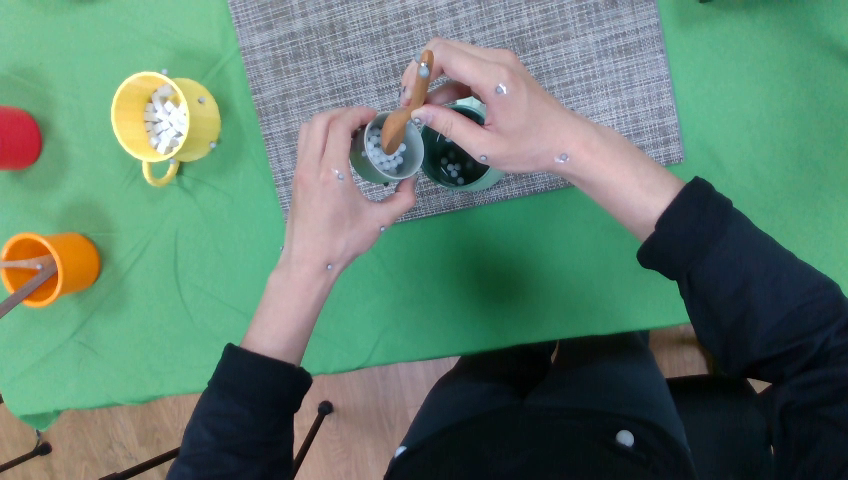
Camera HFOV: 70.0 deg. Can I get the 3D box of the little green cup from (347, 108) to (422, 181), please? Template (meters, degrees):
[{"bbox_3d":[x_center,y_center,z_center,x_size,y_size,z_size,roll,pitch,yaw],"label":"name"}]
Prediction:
[{"bbox_3d":[-0.037,-0.082,0.541,0.038,0.061,0.061,-17,96,56],"label":"little green cup"}]

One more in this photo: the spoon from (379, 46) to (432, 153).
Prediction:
[{"bbox_3d":[-0.013,-0.102,0.449,0.022,0.193,0.041,27,80,-9],"label":"spoon"}]

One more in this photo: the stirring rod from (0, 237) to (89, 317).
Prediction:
[{"bbox_3d":[-0.486,0.058,0.741,0.014,0.006,0.175,39,62,3],"label":"stirring rod"}]

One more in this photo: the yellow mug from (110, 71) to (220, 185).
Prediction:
[{"bbox_3d":[-0.303,-0.128,0.709,0.100,0.064,0.131,14,103,9],"label":"yellow mug"}]

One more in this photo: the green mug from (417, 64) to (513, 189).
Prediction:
[{"bbox_3d":[0.042,-0.113,0.612,0.092,0.105,0.125,6,99,12],"label":"green mug"}]

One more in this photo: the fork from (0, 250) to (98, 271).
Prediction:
[{"bbox_3d":[-0.516,0.027,0.736,0.208,0.018,0.028,-1,98,-32],"label":"fork"}]
